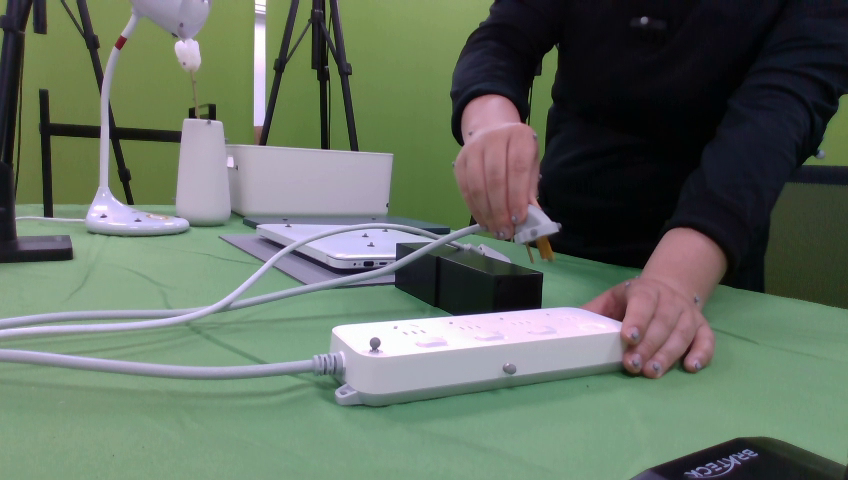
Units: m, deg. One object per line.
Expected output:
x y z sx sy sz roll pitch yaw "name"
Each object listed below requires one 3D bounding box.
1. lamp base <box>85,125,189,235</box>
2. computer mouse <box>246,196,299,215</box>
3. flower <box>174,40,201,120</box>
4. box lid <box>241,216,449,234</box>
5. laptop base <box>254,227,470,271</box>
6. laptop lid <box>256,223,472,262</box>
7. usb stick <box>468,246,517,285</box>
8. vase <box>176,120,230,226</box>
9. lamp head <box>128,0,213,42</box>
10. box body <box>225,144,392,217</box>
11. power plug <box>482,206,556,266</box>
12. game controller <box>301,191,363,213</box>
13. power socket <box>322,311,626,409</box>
-0.498 -0.105 1.026 0.179 0.180 0.160 1 7 3 "lamp base"
-0.355 -0.082 1.417 0.117 0.041 0.063 1 9 7 "computer mouse"
-0.430 -0.211 1.165 0.044 0.361 0.038 -10 -5 -22 "flower"
-0.162 -0.030 1.233 0.373 0.015 0.262 -1 8 -32 "box lid"
-0.096 0.012 0.911 0.237 0.023 0.352 2 7 -32 "laptop base"
-0.093 0.000 0.911 0.243 0.013 0.355 1 7 -30 "laptop lid"
0.079 0.031 0.673 0.059 0.021 0.027 29 24 -30 "usb stick"
-0.425 -0.128 1.159 0.098 0.200 0.098 2 9 0 "vase"
-0.423 -0.394 0.980 0.123 0.112 0.112 20 7 -3 "lamp head"
-0.289 -0.143 1.474 0.366 0.160 0.253 -1 9 -29 "box body"
0.082 -0.002 0.505 0.035 0.052 0.072 -12 -3 -19 "power plug"
-0.240 -0.098 1.550 0.155 0.051 0.097 3 10 5 "game controller"
0.040 0.075 0.410 0.228 0.032 0.072 -1 8 -27 "power socket"
